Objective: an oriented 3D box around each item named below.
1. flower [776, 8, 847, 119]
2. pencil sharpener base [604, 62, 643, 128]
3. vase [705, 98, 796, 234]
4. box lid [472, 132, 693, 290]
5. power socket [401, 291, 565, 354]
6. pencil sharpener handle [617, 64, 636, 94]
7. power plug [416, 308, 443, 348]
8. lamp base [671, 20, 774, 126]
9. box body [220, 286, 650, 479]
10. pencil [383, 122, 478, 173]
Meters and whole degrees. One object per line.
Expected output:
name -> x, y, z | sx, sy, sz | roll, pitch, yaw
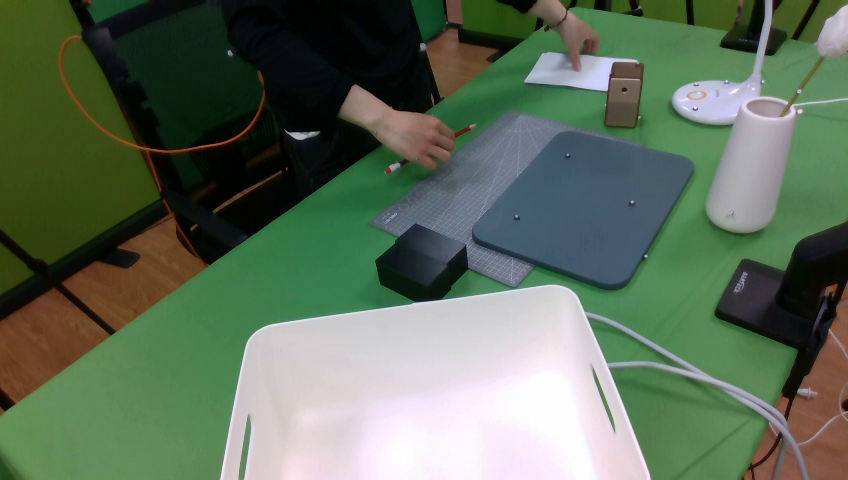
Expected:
flower -> 0.476, -0.156, 0.822 | 0.038, 0.362, 0.044 | 7, 58, 2
pencil sharpener base -> 0.390, -0.284, 1.182 | 0.061, 0.107, 0.076 | 7, 42, 17
vase -> 0.480, -0.104, 0.889 | 0.098, 0.201, 0.097 | -4, 42, 4
box lid -> 0.273, -0.068, 1.020 | 0.261, 0.015, 0.372 | 20, 47, 28
power socket -> 0.080, 0.111, 0.823 | 0.227, 0.033, 0.072 | -5, 41, 1
pencil sharpener handle -> 0.401, -0.327, 1.211 | 0.036, 0.068, 0.030 | 16, 44, 8
power plug -> 0.005, 0.121, 0.787 | 0.035, 0.053, 0.072 | 2, 46, 8
lamp base -> 0.581, -0.332, 1.154 | 0.179, 0.181, 0.160 | 2, 41, 7
box body -> 0.006, 0.210, 0.618 | 0.364, 0.161, 0.252 | -8, 40, -1
pencil -> 0.013, -0.169, 1.093 | 0.194, 0.012, 0.012 | -28, 43, -6
